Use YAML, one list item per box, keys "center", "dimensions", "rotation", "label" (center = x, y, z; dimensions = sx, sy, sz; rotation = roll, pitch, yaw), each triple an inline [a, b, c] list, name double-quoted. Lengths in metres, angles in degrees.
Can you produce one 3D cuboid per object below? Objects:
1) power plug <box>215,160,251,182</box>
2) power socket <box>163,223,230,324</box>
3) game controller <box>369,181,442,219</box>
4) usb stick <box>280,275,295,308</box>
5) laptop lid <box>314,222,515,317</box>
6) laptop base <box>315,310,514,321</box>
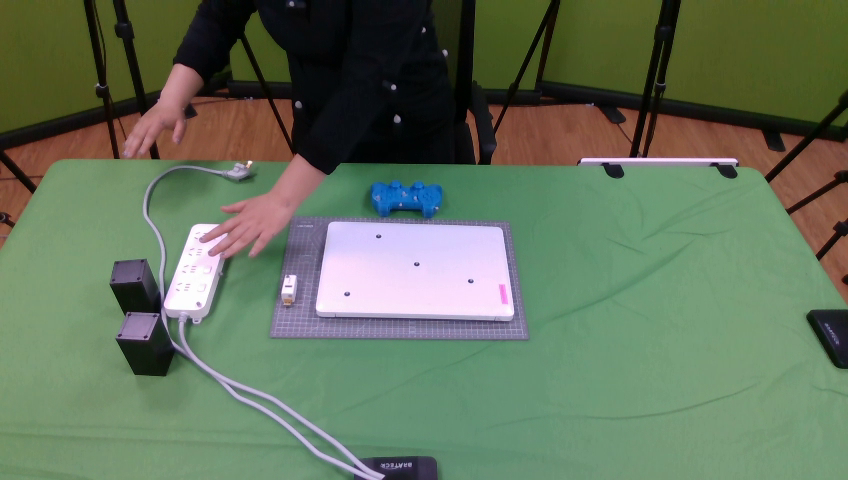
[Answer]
- center: [-0.409, -0.155, 1.303]
  dimensions: [0.072, 0.035, 0.052]
  rotation: [22, 65, 1]
  label: "power plug"
- center: [-0.412, 0.052, 1.106]
  dimensions: [0.072, 0.033, 0.225]
  rotation: [3, 46, -3]
  label: "power socket"
- center: [-0.039, -0.092, 1.268]
  dimensions: [0.155, 0.052, 0.096]
  rotation: [2, 51, -2]
  label: "game controller"
- center: [-0.244, 0.093, 1.080]
  dimensions: [0.021, 0.027, 0.059]
  rotation: [2, 49, -3]
  label: "usb stick"
- center: [-0.016, 0.049, 1.134]
  dimensions: [0.357, 0.013, 0.240]
  rotation: [3, 43, -2]
  label: "laptop lid"
- center: [-0.017, 0.059, 1.141]
  dimensions: [0.354, 0.023, 0.234]
  rotation: [2, 42, -3]
  label: "laptop base"
